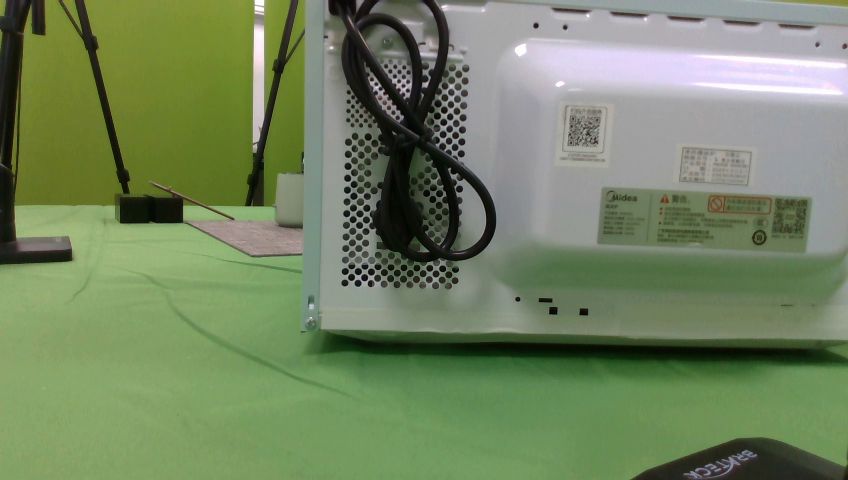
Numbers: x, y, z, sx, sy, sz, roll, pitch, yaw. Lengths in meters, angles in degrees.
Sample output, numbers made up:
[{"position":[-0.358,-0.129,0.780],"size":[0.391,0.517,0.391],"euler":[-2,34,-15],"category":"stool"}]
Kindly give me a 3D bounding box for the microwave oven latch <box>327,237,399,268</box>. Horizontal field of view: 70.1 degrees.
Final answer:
[{"position":[-0.069,0.014,0.694],"size":[0.079,0.029,0.030],"euler":[3,7,-3],"category":"microwave oven latch"}]

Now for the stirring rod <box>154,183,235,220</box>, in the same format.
[{"position":[-0.472,-0.079,1.252],"size":[0.177,0.006,0.014],"euler":[27,3,-35],"category":"stirring rod"}]

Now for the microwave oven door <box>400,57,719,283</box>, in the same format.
[{"position":[0.155,-0.078,0.701],"size":[0.356,0.243,0.039],"euler":[2,8,-4],"category":"microwave oven door"}]

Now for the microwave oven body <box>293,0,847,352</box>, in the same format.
[{"position":[0.122,-0.055,0.550],"size":[0.442,0.260,0.325],"euler":[3,7,-5],"category":"microwave oven body"}]

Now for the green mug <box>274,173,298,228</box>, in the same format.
[{"position":[-0.242,-0.081,1.221],"size":[0.092,0.105,0.126],"euler":[8,9,39],"category":"green mug"}]
